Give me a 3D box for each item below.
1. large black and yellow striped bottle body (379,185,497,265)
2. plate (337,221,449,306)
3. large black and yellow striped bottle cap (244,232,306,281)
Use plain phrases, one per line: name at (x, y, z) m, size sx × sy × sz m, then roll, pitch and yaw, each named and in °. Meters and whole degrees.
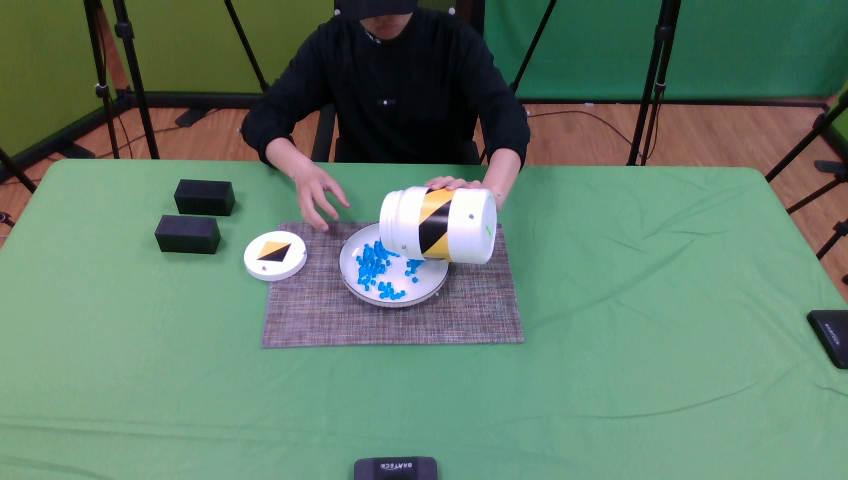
large black and yellow striped bottle body at (0.025, -0.028, 1.058) m, size 0.183 × 0.131 × 0.130 m, roll 4°, pitch 44°, yaw 18°
plate at (-0.057, 0.045, 1.133) m, size 0.208 × 0.039 × 0.206 m, roll 2°, pitch 46°, yaw -2°
large black and yellow striped bottle cap at (-0.282, 0.030, 1.146) m, size 0.115 × 0.019 × 0.114 m, roll -1°, pitch 45°, yaw 1°
